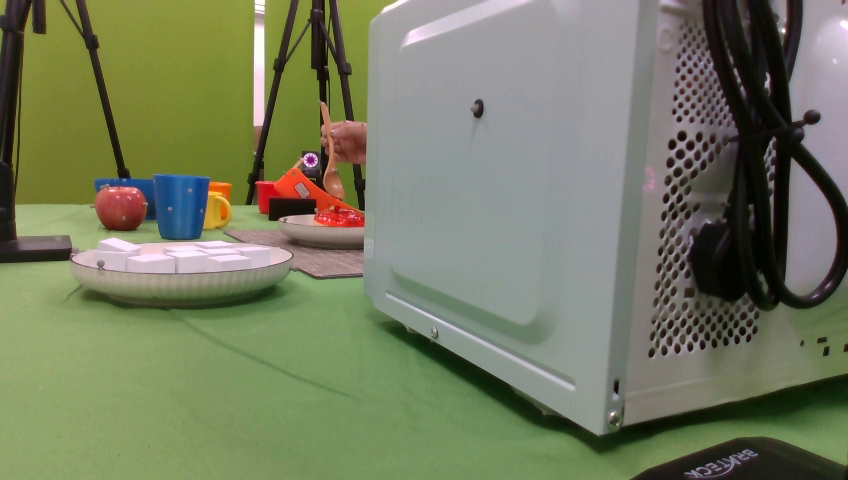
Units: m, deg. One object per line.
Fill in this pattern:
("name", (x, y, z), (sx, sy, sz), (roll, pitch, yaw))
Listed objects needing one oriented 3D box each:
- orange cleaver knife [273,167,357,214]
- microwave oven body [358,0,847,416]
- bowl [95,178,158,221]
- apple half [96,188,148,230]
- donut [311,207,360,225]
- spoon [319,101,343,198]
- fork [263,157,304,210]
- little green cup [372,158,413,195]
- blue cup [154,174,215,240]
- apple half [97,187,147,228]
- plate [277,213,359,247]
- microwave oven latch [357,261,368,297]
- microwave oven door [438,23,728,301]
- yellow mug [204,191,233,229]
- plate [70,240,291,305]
("orange cleaver knife", (-0.238, -0.091, 1.381), (0.212, 0.077, 0.012), (31, 0, -19))
("microwave oven body", (0.211, -0.047, 0.474), (0.444, 0.260, 0.324), (-1, 7, -28))
("bowl", (-0.576, -0.081, 1.217), (0.151, 0.077, 0.151), (3, 8, 0))
("apple half", (-0.517, -0.052, 1.036), (0.081, 0.074, 0.053), (3, 10, -26))
("donut", (-0.137, -0.029, 0.995), (0.099, 0.048, 0.099), (4, 8, 0))
("spoon", (-0.162, -0.157, 1.034), (0.021, 0.193, 0.042), (-25, -26, 39))
("fork", (-0.345, -0.143, 1.505), (0.028, 0.019, 0.207), (-4, 46, 28))
("little green cup", (-0.048, -0.100, 0.969), (0.061, 0.038, 0.061), (-26, 0, 0))
("blue cup", (-0.391, -0.053, 0.978), (0.093, 0.100, 0.092), (4, 6, 0))
("apple half", (-0.534, -0.059, 1.071), (0.082, 0.081, 0.032), (-1, 11, -25))
("plate", (-0.134, -0.017, 0.993), (0.209, 0.038, 0.209), (2, 7, 0))
("microwave oven latch", (-0.019, 0.033, 0.530), (0.079, 0.029, 0.030), (-1, 7, -27))
("microwave oven door", (0.181, -0.072, 0.620), (0.358, 0.243, 0.039), (-2, 8, -29))
("yellow mug", (-0.415, -0.057, 1.131), (0.130, 0.064, 0.100), (6, 8, 16))
("plate", (-0.242, 0.031, 0.618), (0.208, 0.039, 0.207), (2, 8, 0))
